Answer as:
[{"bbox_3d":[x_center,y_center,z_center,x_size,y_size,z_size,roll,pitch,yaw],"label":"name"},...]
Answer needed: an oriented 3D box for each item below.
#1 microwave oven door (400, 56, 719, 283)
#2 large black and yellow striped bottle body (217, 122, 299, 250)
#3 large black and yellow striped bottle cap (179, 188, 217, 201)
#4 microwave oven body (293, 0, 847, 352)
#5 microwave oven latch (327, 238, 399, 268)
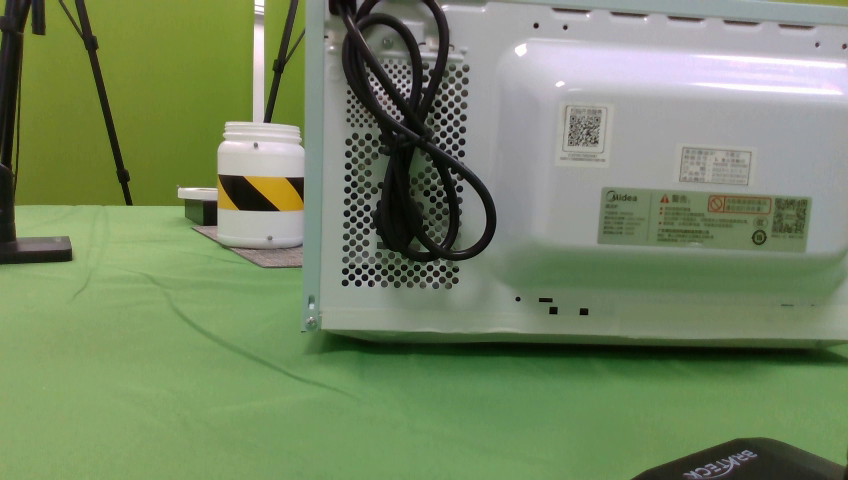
[{"bbox_3d":[0.155,-0.077,0.698,0.356,0.243,0.039,2,8,-5],"label":"microwave oven door"},{"bbox_3d":[-0.250,-0.084,0.931,0.131,0.184,0.130,2,7,0],"label":"large black and yellow striped bottle body"},{"bbox_3d":[-0.434,-0.093,1.226,0.115,0.019,0.115,3,9,0],"label":"large black and yellow striped bottle cap"},{"bbox_3d":[0.122,-0.055,0.550,0.442,0.260,0.325,3,7,-5],"label":"microwave oven body"},{"bbox_3d":[-0.069,0.015,0.694,0.079,0.029,0.030,3,7,-3],"label":"microwave oven latch"}]
